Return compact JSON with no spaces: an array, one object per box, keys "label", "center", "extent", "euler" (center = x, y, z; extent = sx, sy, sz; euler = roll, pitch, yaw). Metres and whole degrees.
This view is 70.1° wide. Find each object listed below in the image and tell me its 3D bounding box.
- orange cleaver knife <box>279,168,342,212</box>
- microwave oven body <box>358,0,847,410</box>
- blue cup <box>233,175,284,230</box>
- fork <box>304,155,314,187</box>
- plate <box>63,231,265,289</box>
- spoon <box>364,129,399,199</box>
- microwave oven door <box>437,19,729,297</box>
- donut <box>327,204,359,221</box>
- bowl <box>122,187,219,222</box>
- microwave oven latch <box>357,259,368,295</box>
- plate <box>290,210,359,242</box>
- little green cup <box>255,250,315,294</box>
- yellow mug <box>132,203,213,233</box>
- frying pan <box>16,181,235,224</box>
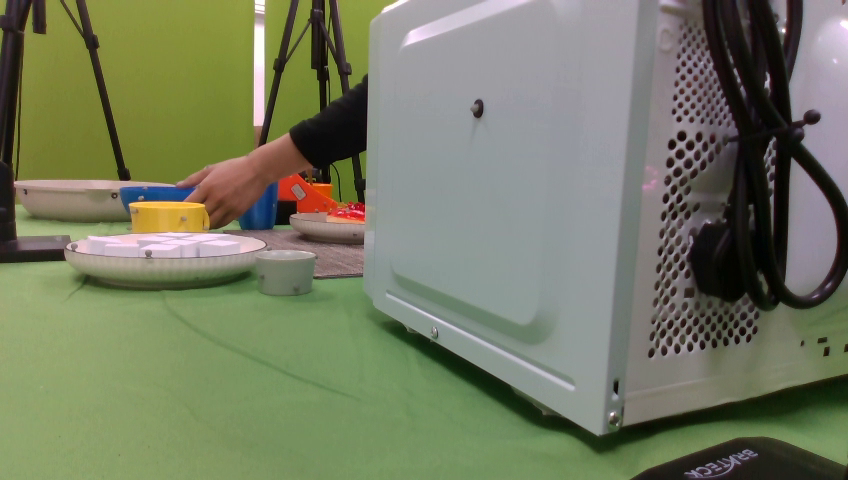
[{"label":"orange cleaver knife","center":[-0.237,-0.084,1.332],"extent":[0.212,0.077,0.012],"euler":[31,-9,-31]},{"label":"microwave oven body","center":[0.210,-0.051,0.471],"extent":[0.444,0.260,0.324],"euler":[-1,7,-28]},{"label":"blue cup","center":[-0.314,-0.071,1.142],"extent":[0.093,0.100,0.092],"euler":[0,7,0]},{"label":"fork","center":[-0.268,-0.134,1.446],"extent":[0.028,0.018,0.207],"euler":[2,-36,-1]},{"label":"plate","center":[-0.288,0.021,0.687],"extent":[0.208,0.039,0.207],"euler":[2,8,0]},{"label":"spoon","center":[-0.099,-0.170,1.336],"extent":[0.042,0.193,0.021],"euler":[-9,-23,-25]},{"label":"microwave oven door","center":[0.180,-0.076,0.618],"extent":[0.358,0.243,0.039],"euler":[-2,8,-28]},{"label":"donut","center":[-0.120,-0.037,1.056],"extent":[0.099,0.048,0.099],"euler":[5,6,0]},{"label":"bowl","center":[-0.422,-0.046,1.012],"extent":[0.151,0.077,0.151],"euler":[2,8,0]},{"label":"microwave oven latch","center":[-0.019,0.031,0.529],"extent":[0.079,0.029,0.030],"euler":[-1,7,-26]},{"label":"plate","center":[-0.127,-0.025,1.051],"extent":[0.209,0.038,0.209],"euler":[2,7,0]},{"label":"little green cup","center":[-0.144,0.032,0.627],"extent":[0.061,0.038,0.061],"euler":[3,6,0]},{"label":"yellow mug","center":[-0.355,-0.020,0.878],"extent":[0.099,0.064,0.131],"euler":[4,6,22]},{"label":"frying pan","center":[-0.554,-0.097,1.266],"extent":[0.490,0.102,0.305],"euler":[-10,13,-24]}]
